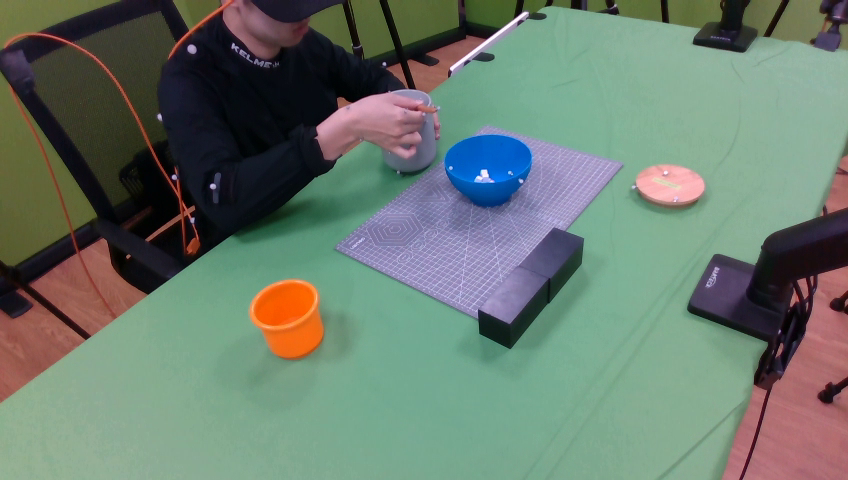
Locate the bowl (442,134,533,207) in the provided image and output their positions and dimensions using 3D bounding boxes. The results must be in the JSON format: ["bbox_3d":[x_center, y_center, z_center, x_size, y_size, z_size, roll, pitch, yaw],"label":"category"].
[{"bbox_3d":[0.110,-0.109,1.033,0.151,0.077,0.150,-4,41,4],"label":"bowl"}]

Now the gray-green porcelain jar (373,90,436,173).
[{"bbox_3d":[-0.033,-0.198,1.126,0.106,0.127,0.105,-4,40,4],"label":"gray-green porcelain jar"}]

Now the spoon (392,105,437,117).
[{"bbox_3d":[-0.016,-0.224,1.047,0.042,0.021,0.192,-15,14,-15],"label":"spoon"}]

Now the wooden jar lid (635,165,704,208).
[{"bbox_3d":[0.410,-0.089,1.014,0.108,0.021,0.108,-5,42,5],"label":"wooden jar lid"}]
